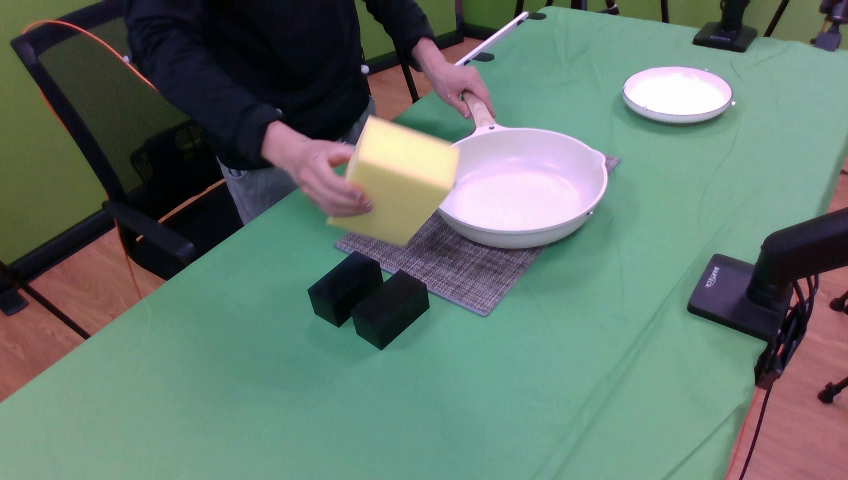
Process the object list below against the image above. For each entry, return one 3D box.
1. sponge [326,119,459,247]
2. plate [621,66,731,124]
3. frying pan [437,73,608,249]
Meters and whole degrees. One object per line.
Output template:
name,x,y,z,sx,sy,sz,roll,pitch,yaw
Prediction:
sponge,-0.049,-0.065,0.793,0.119,0.206,0.060,17,66,-14
plate,0.503,-0.288,1.221,0.207,0.039,0.206,-4,41,4
frying pan,0.130,-0.161,1.069,0.307,0.103,0.484,-11,49,-6
